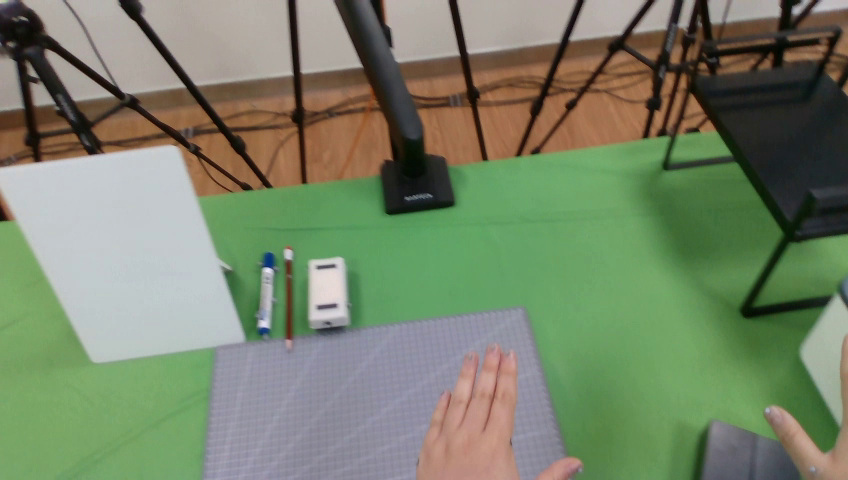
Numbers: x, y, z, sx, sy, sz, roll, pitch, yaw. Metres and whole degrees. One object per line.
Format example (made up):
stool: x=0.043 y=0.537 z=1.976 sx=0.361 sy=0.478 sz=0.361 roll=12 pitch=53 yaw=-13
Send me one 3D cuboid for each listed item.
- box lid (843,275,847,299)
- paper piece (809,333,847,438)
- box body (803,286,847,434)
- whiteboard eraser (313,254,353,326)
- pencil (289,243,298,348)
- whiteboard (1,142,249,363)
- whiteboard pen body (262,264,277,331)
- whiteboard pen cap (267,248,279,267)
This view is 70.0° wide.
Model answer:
box lid: x=0.630 y=0.160 z=0.603 sx=0.263 sy=0.015 sz=0.367 roll=-7 pitch=51 yaw=-3
paper piece: x=0.581 y=0.191 z=0.787 sx=0.136 sy=0.009 sz=0.137 roll=5 pitch=64 yaw=-1
box body: x=0.634 y=0.209 z=0.660 sx=0.254 sy=0.162 sz=0.360 roll=-7 pitch=51 yaw=-2
whiteboard eraser: x=-0.136 y=0.074 z=0.894 sx=0.055 sy=0.042 sz=0.111 roll=-8 pitch=51 yaw=-1
pencil: x=-0.196 y=0.079 z=0.913 sx=0.012 sy=0.012 sz=0.192 roll=-9 pitch=51 yaw=-4
whiteboard: x=-0.376 y=-0.004 z=0.841 sx=0.217 sy=0.308 sz=0.142 roll=-7 pitch=32 yaw=-2
whiteboard pen body: x=-0.232 y=0.075 z=0.914 sx=0.017 sy=0.017 sz=0.139 roll=-6 pitch=51 yaw=-1
whiteboard pen cap: x=-0.237 y=0.030 z=0.950 sx=0.018 sy=0.018 sz=0.033 roll=-8 pitch=50 yaw=-3
